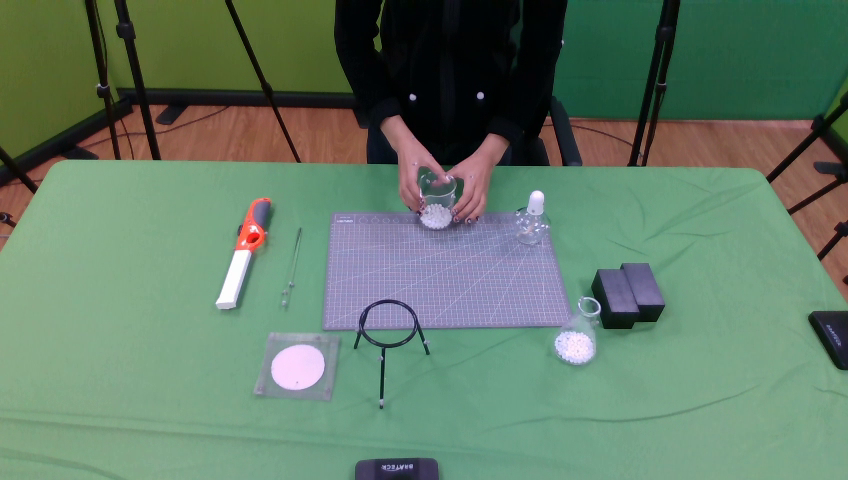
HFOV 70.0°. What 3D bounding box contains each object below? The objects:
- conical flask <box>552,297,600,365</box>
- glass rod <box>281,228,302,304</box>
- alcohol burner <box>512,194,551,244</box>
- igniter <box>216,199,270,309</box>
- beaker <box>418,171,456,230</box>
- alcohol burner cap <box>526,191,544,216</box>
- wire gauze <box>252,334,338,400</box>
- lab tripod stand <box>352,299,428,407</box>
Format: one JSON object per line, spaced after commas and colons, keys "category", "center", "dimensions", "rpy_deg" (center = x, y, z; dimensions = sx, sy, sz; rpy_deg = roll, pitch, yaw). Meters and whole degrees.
{"category": "conical flask", "center": [0.261, 0.147, 1.009], "dimensions": [0.075, 0.122, 0.075], "rpy_deg": [2, 46, -2]}
{"category": "glass rod", "center": [-0.250, 0.045, 1.146], "dimensions": [0.008, 0.008, 0.198], "rpy_deg": [2, 43, -1]}
{"category": "alcohol burner", "center": [0.215, -0.048, 1.196], "dimensions": [0.078, 0.119, 0.077], "rpy_deg": [4, 46, -4]}
{"category": "igniter", "center": [-0.342, 0.016, 1.153], "dimensions": [0.057, 0.025, 0.275], "rpy_deg": [-3, 45, 7]}
{"category": "beaker", "center": [0.022, -0.075, 1.206], "dimensions": [0.073, 0.101, 0.084], "rpy_deg": [34, 55, 26]}
{"category": "alcohol burner cap", "center": [0.216, -0.073, 1.170], "dimensions": [0.034, 0.048, 0.033], "rpy_deg": [-1, 42, 1]}
{"category": "wire gauze", "center": [-0.209, 0.204, 0.996], "dimensions": [0.125, 0.011, 0.120], "rpy_deg": [3, 45, 1]}
{"category": "lab tripod stand", "center": [-0.056, 0.166, 0.958], "dimensions": [0.148, 0.132, 0.147], "rpy_deg": [3, 44, -2]}
